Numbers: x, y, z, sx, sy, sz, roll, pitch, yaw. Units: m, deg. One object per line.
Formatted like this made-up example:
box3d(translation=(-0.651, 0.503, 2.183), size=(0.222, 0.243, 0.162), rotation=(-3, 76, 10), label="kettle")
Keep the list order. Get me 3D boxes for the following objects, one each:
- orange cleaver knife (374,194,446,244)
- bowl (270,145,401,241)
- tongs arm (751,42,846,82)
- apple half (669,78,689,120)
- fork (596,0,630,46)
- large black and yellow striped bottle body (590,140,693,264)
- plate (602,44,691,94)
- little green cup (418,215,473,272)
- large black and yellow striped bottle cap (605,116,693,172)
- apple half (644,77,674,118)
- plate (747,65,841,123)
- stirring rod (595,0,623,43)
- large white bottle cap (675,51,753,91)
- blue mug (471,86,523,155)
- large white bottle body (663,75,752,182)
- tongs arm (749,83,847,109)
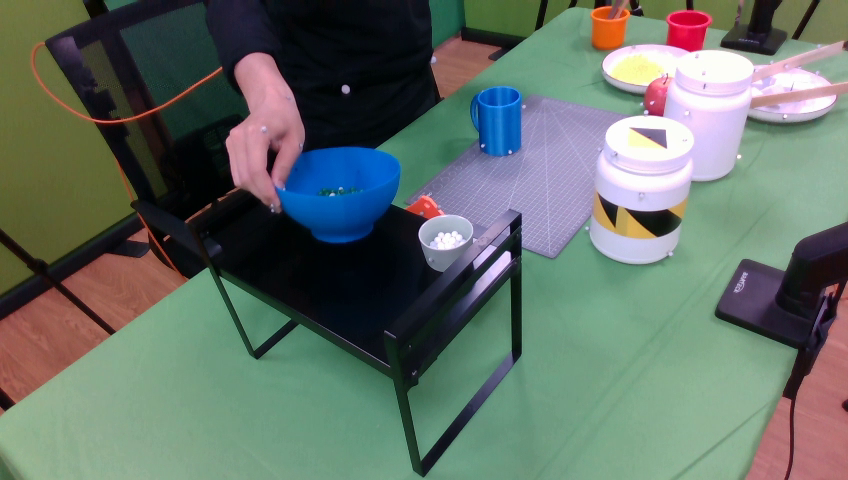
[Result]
box3d(translation=(-0.032, -0.026, 0.964), size=(0.210, 0.077, 0.012), rotation=(-10, 29, 51), label="orange cleaver knife")
box3d(translation=(-0.099, -0.050, 0.711), size=(0.151, 0.077, 0.151), rotation=(-2, 29, 1), label="bowl")
box3d(translation=(0.708, -0.331, 1.193), size=(0.386, 0.026, 0.050), rotation=(-18, 45, -16), label="tongs arm")
box3d(translation=(0.498, -0.273, 1.180), size=(0.032, 0.082, 0.081), rotation=(7, 42, 25), label="apple half")
box3d(translation=(0.481, -0.556, 1.452), size=(0.028, 0.019, 0.207), rotation=(40, 103, 41), label="fork")
box3d(translation=(0.317, -0.071, 0.889), size=(0.131, 0.185, 0.130), rotation=(-4, 41, 4), label="large black and yellow striped bottle body")
box3d(translation=(0.495, -0.367, 1.317), size=(0.209, 0.038, 0.208), rotation=(-4, 40, 4), label="plate")
box3d(translation=(0.026, 0.005, 0.678), size=(0.061, 0.039, 0.061), rotation=(-4, 40, 4), label="little green cup")
box3d(translation=(0.309, -0.134, 0.833), size=(0.115, 0.019, 0.114), rotation=(-5, 40, 5), label="large black and yellow striped bottle cap")
box3d(translation=(0.462, -0.279, 1.194), size=(0.053, 0.075, 0.081), rotation=(8, 46, 24), label="apple half")
box3d(translation=(0.695, -0.282, 1.189), size=(0.207, 0.039, 0.206), rotation=(-4, 40, 4), label="plate")
box3d(translation=(0.460, -0.556, 1.459), size=(0.014, 0.006, 0.176), rotation=(30, 93, 23), label="stirring rod")
box3d(translation=(0.463, -0.271, 0.967), size=(0.115, 0.018, 0.114), rotation=(-4, 40, 3), label="large white bottle cap")
box3d(translation=(0.135, -0.235, 1.163), size=(0.082, 0.106, 0.115), rotation=(-36, 48, -28), label="blue mug")
box3d(translation=(0.472, -0.207, 1.022), size=(0.130, 0.185, 0.130), rotation=(-4, 41, 4), label="large white bottle body")
box3d(translation=(0.734, -0.280, 1.133), size=(0.388, 0.028, 0.028), rotation=(-9, 47, -5), label="tongs arm")
